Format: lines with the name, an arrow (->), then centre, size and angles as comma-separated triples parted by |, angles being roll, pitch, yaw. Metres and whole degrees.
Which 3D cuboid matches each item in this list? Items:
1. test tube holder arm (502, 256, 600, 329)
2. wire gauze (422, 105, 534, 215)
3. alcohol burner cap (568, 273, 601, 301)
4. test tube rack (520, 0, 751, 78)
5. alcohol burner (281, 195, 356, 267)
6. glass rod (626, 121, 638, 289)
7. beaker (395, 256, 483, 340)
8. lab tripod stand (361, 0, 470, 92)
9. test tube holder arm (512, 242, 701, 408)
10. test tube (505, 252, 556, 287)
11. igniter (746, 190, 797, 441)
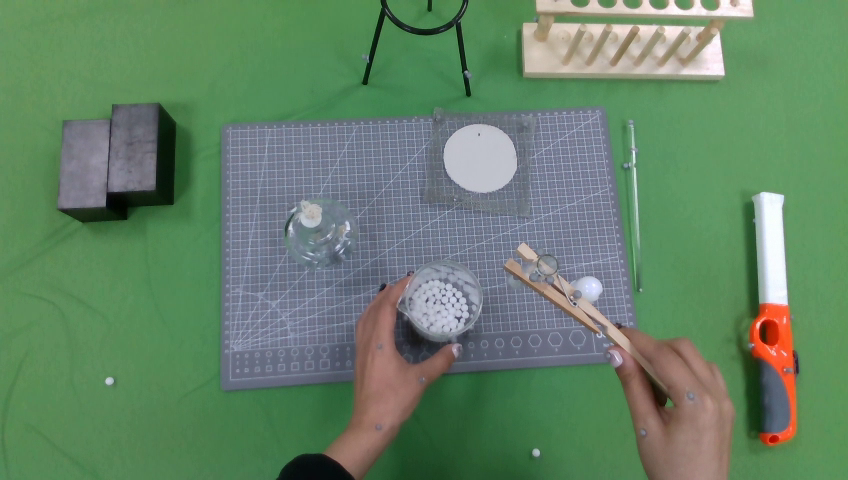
test tube holder arm -> 0.098, 0.040, 0.463 | 0.087, 0.015, 0.010 | 33, 89, 6
wire gauze -> 0.064, -0.095, 0.701 | 0.125, 0.011, 0.121 | 8, 78, -2
alcohol burner cap -> 0.174, 0.051, 0.655 | 0.034, 0.048, 0.033 | 1, 76, -2
test tube rack -> 0.240, -0.241, 0.704 | 0.242, 0.085, 0.066 | 0, 77, -2
alcohol burner -> -0.111, -0.014, 0.620 | 0.078, 0.119, 0.077 | 0, 76, 0
glass rod -> 0.240, -0.042, 0.698 | 0.008, 0.008, 0.199 | 2, 79, -2
beaker -> 0.013, 0.064, 0.615 | 0.084, 0.100, 0.073 | -9, 77, -4
lab tripod stand -> -0.005, -0.232, 0.667 | 0.148, 0.132, 0.147 | 0, 79, -2
test tube holder arm -> 0.137, 0.063, 0.459 | 0.178, 0.015, 0.013 | 40, 90, 6
test tube -> 0.082, 0.026, 0.487 | 0.017, 0.150, 0.017 | 0, 82, -1
igniter -> 0.381, 0.078, 0.668 | 0.057, 0.025, 0.275 | 7, 77, -11
